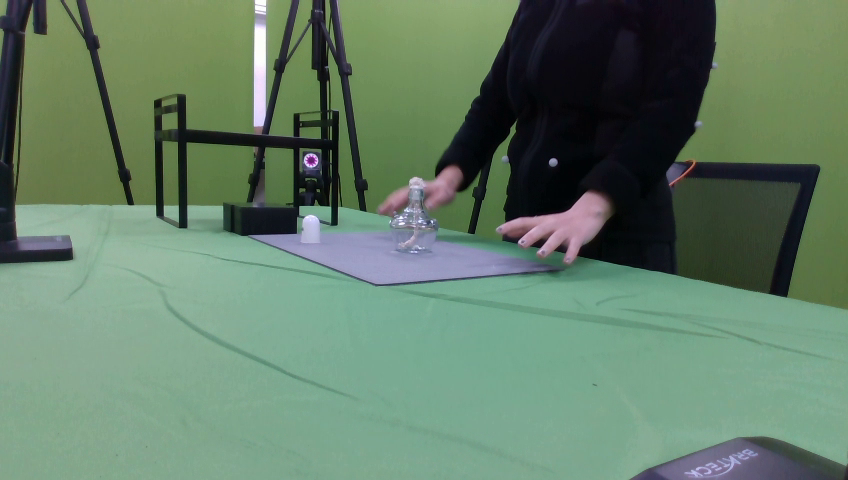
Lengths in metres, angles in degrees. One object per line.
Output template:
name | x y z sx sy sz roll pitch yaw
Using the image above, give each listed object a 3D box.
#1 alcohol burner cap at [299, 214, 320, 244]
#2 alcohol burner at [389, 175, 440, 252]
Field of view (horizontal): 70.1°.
alcohol burner cap | -0.185 -0.018 0.979 0.034 0.048 0.034 4 8 0
alcohol burner | -0.013 -0.041 0.930 0.078 0.119 0.078 4 8 0
